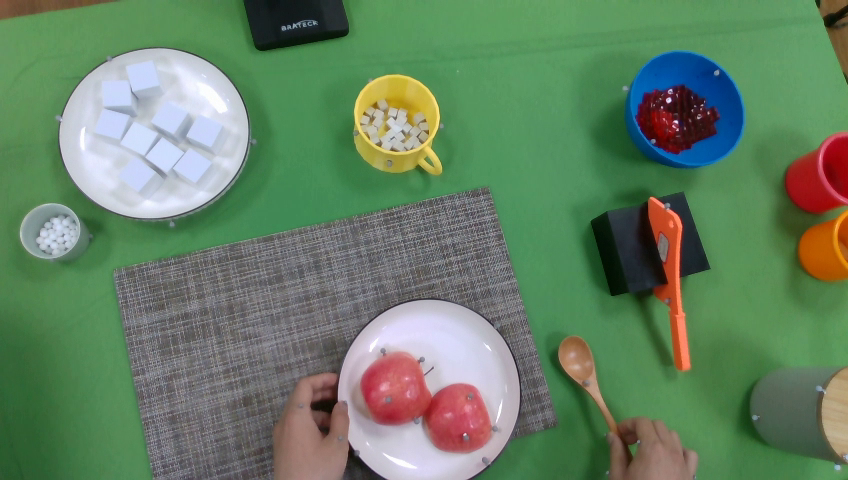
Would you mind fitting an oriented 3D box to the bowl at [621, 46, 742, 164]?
[{"bbox_3d":[0.313,-0.160,0.774,0.152,0.077,0.151,1,80,-7],"label":"bowl"}]

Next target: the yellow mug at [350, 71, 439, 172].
[{"bbox_3d":[-0.027,-0.132,0.728,0.100,0.064,0.131,-43,88,-13],"label":"yellow mug"}]

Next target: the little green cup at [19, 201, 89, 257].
[{"bbox_3d":[-0.404,-0.009,0.666,0.062,0.038,0.061,2,80,-9],"label":"little green cup"}]

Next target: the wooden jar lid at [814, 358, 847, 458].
[{"bbox_3d":[0.460,0.179,0.644,0.108,0.021,0.108,1,82,-9],"label":"wooden jar lid"}]

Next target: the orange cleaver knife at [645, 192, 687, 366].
[{"bbox_3d":[0.290,0.048,0.730,0.012,0.076,0.212,-12,105,-6],"label":"orange cleaver knife"}]

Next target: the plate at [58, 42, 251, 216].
[{"bbox_3d":[-0.306,-0.126,0.703,0.208,0.039,0.206,2,79,-8],"label":"plate"}]

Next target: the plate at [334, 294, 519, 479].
[{"bbox_3d":[0.003,0.166,0.688,0.209,0.038,0.208,2,80,-8],"label":"plate"}]

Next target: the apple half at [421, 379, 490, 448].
[{"bbox_3d":[0.037,0.197,0.680,0.081,0.033,0.081,2,76,-6],"label":"apple half"}]

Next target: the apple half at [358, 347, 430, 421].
[{"bbox_3d":[-0.034,0.160,0.668,0.075,0.053,0.080,-17,82,-8],"label":"apple half"}]

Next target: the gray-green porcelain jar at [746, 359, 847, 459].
[{"bbox_3d":[0.453,0.192,0.704,0.106,0.127,0.105,1,79,-7],"label":"gray-green porcelain jar"}]

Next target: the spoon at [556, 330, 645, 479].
[{"bbox_3d":[0.209,0.197,0.710,0.041,0.022,0.192,-23,76,-11],"label":"spoon"}]

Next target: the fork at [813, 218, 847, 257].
[{"bbox_3d":[0.536,0.038,0.732,0.028,0.019,0.205,3,36,-8],"label":"fork"}]
